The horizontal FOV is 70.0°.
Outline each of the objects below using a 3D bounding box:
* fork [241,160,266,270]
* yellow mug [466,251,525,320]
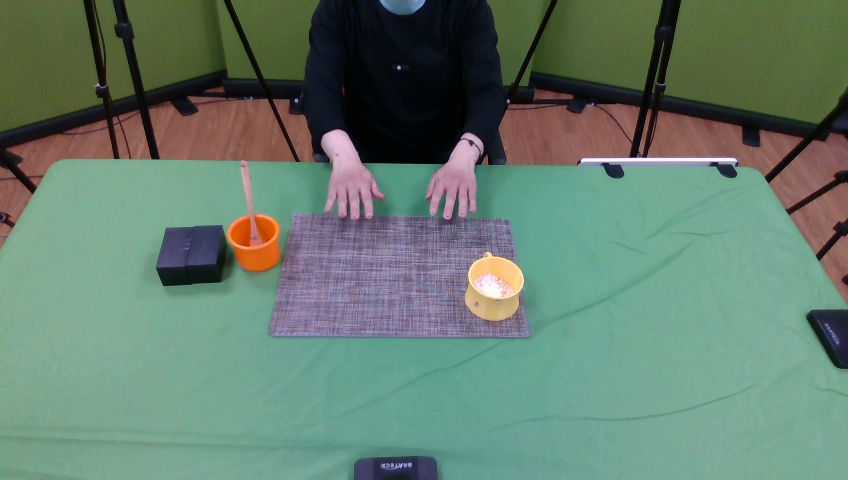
[{"bbox_3d":[-0.320,-0.047,1.130,0.028,0.018,0.207,-9,91,-2],"label":"fork"},{"bbox_3d":[0.125,0.074,1.096,0.100,0.064,0.130,-4,45,-7],"label":"yellow mug"}]
